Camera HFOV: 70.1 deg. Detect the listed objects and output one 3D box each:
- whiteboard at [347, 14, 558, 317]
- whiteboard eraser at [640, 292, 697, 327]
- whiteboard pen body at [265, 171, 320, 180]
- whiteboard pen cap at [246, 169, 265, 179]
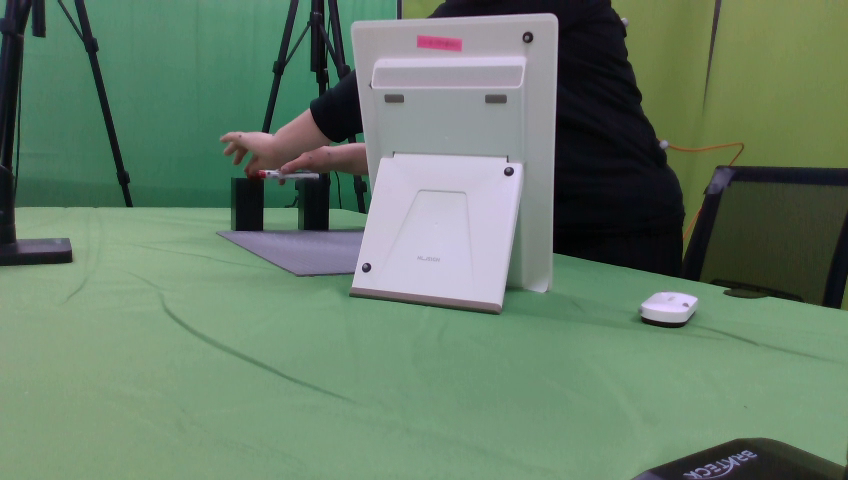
[{"bbox_3d":[0.012,-0.056,0.609,0.216,0.305,0.144,5,27,20],"label":"whiteboard"},{"bbox_3d":[0.240,0.066,0.590,0.041,0.019,0.102,7,7,31],"label":"whiteboard eraser"},{"bbox_3d":[-0.268,-0.126,1.179,0.141,0.017,0.017,-2,9,-36],"label":"whiteboard pen body"},{"bbox_3d":[-0.318,-0.125,1.144,0.032,0.017,0.017,1,7,-36],"label":"whiteboard pen cap"}]
